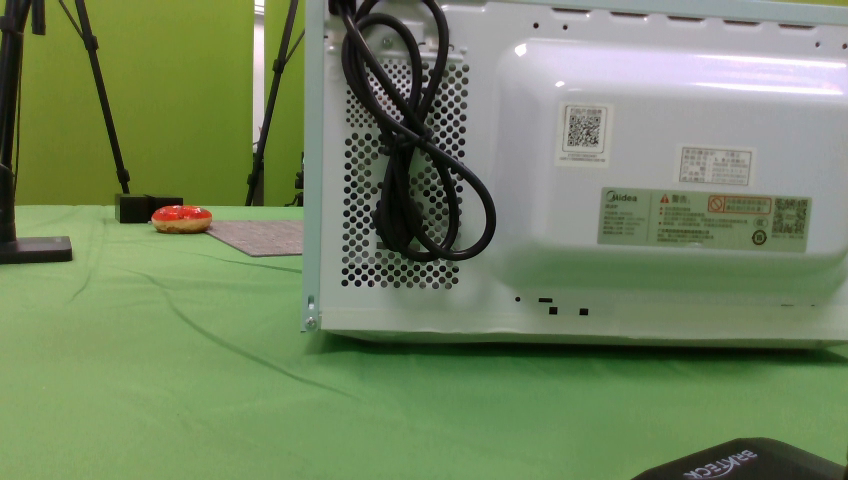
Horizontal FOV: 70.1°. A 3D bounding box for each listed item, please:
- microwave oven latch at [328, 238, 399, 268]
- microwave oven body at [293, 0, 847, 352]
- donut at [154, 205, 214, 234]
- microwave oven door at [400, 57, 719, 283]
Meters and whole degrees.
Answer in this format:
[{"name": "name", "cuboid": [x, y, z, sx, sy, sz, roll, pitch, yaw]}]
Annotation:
[{"name": "microwave oven latch", "cuboid": [-0.069, 0.015, 0.694, 0.079, 0.029, 0.030, 3, 7, -3]}, {"name": "microwave oven body", "cuboid": [0.122, -0.055, 0.550, 0.442, 0.260, 0.325, 3, 7, -5]}, {"name": "donut", "cuboid": [-0.426, -0.037, 1.074, 0.099, 0.048, 0.099, 2, 12, 0]}, {"name": "microwave oven door", "cuboid": [0.155, -0.078, 0.702, 0.356, 0.243, 0.039, 2, 8, -3]}]
